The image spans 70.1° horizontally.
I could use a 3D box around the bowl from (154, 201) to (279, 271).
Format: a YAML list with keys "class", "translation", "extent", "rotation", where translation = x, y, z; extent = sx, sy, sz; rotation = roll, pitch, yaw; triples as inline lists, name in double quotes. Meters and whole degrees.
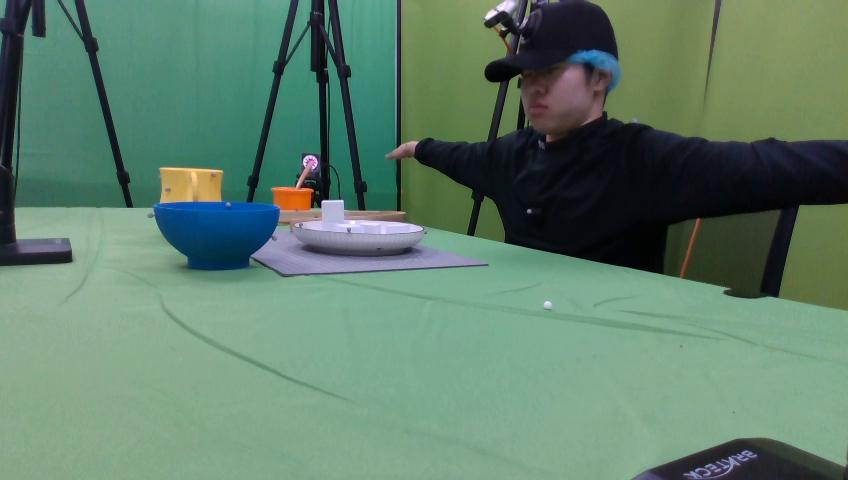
- class: "bowl"
  translation: [-0.263, -0.005, 0.773]
  extent: [0.151, 0.077, 0.151]
  rotation: [3, 8, 0]

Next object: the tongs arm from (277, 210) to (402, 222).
- class: "tongs arm"
  translation: [-0.207, -0.051, 1.333]
  extent: [0.387, 0.026, 0.050]
  rotation: [-2, 9, -44]

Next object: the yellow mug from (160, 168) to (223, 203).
- class: "yellow mug"
  translation: [-0.387, -0.086, 1.016]
  extent: [0.100, 0.064, 0.130]
  rotation: [-1, 9, -25]

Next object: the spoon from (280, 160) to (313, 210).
- class: "spoon"
  translation: [-0.286, -0.117, 1.372]
  extent: [0.041, 0.193, 0.022]
  rotation: [3, -37, 18]

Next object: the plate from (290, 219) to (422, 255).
- class: "plate"
  translation: [-0.108, -0.005, 0.963]
  extent: [0.208, 0.039, 0.207]
  rotation: [3, 7, 0]

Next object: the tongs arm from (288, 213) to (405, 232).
- class: "tongs arm"
  translation: [-0.146, -0.039, 1.281]
  extent: [0.028, 0.028, 0.389]
  rotation: [4, 6, 32]
